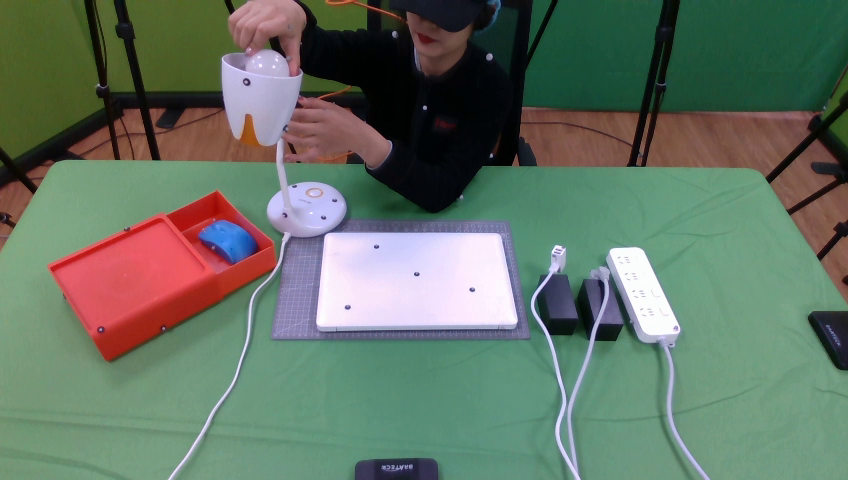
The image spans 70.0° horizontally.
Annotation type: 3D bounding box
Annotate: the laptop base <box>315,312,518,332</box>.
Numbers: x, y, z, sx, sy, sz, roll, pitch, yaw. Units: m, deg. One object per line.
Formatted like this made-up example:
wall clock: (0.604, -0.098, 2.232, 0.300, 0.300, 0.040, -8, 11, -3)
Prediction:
laptop base: (-0.016, 0.075, 1.125, 0.355, 0.023, 0.234, 0, 42, -4)

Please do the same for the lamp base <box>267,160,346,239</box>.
lamp base: (-0.241, -0.110, 1.175, 0.160, 0.181, 0.178, 11, 49, 9)

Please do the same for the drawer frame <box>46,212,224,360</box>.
drawer frame: (-0.495, 0.072, 1.050, 0.213, 0.083, 0.200, -32, 56, -29)

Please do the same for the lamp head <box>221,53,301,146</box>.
lamp head: (-0.242, -0.203, 0.889, 0.112, 0.123, 0.112, 10, 33, -7)

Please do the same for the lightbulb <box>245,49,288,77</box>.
lightbulb: (-0.232, -0.221, 0.872, 0.059, 0.108, 0.059, 18, 27, -9)

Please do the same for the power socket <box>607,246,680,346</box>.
power socket: (0.403, 0.096, 1.123, 0.072, 0.033, 0.225, -3, 46, -5)

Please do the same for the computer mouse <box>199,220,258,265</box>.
computer mouse: (-0.374, -0.001, 1.153, 0.116, 0.041, 0.063, 30, 52, 28)

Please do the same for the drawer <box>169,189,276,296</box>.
drawer: (-0.413, 0.022, 1.108, 0.212, 0.073, 0.193, -33, 57, -30)

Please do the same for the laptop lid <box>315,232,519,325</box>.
laptop lid: (-0.015, 0.065, 1.118, 0.357, 0.013, 0.240, 1, 43, -3)

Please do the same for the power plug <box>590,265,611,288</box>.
power plug: (0.318, 0.073, 1.108, 0.035, 0.053, 0.072, 26, 33, 13)

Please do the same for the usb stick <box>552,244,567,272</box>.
usb stick: (0.251, 0.039, 1.123, 0.021, 0.059, 0.027, 14, 47, 24)
